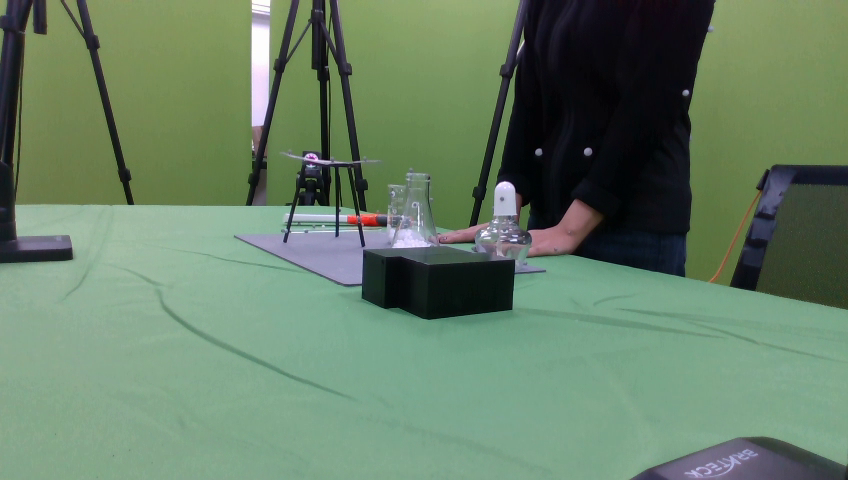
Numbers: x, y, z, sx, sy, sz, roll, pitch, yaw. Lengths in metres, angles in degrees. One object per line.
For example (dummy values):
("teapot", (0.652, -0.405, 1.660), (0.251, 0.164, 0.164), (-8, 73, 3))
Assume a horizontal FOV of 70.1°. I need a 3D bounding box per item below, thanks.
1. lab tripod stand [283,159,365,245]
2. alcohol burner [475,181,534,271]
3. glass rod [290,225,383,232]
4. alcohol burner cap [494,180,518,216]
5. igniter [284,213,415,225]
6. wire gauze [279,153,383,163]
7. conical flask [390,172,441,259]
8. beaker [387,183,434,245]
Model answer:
("lab tripod stand", (-0.151, -0.063, 0.983), (0.148, 0.131, 0.148), (4, 7, 0))
("alcohol burner", (0.108, -0.019, 0.804), (0.078, 0.119, 0.078), (3, 5, 0))
("glass rod", (-0.166, -0.023, 1.174), (0.201, 0.008, 0.008), (-3, 9, -35))
("alcohol burner cap", (0.108, -0.055, 0.800), (0.034, 0.048, 0.034), (-2, 4, 0))
("igniter", (-0.154, -0.045, 1.282), (0.278, 0.025, 0.057), (0, -2, -20))
("wire gauze", (-0.149, -0.129, 0.974), (0.124, 0.011, 0.122), (10, 9, 41))
("conical flask", (-0.010, -0.037, 0.872), (0.075, 0.122, 0.075), (2, 7, 0))
("beaker", (-0.027, -0.044, 1.012), (0.074, 0.100, 0.083), (-2, 8, -34))
